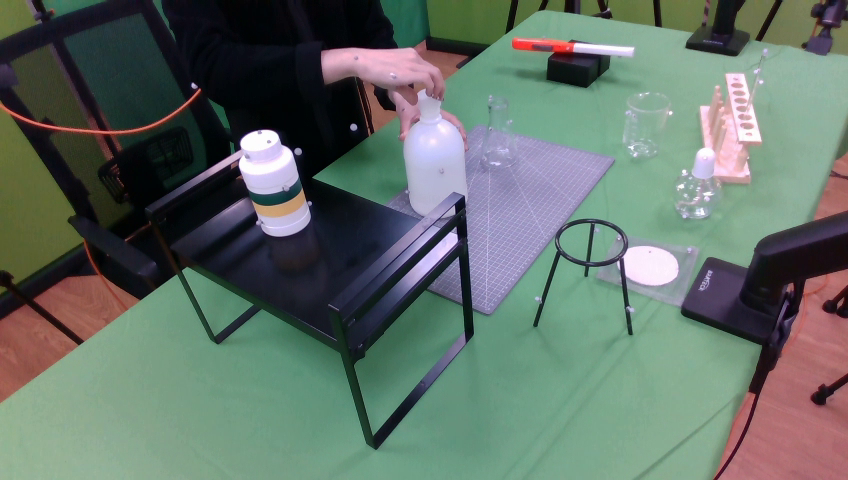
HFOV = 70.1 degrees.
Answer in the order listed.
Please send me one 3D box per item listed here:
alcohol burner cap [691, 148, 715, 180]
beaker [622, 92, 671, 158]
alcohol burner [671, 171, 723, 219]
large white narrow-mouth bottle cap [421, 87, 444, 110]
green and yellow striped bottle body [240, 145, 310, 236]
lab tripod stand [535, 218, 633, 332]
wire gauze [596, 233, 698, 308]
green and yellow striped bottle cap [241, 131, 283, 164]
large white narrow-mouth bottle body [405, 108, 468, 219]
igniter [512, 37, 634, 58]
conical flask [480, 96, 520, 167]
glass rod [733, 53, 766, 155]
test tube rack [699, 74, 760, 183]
[{"bbox_3d":[0.432,-0.120,0.931,0.034,0.048,0.033,-7,48,8],"label":"alcohol burner cap"},{"bbox_3d":[0.402,-0.210,1.106,0.074,0.101,0.083,-9,40,-2],"label":"beaker"},{"bbox_3d":[0.434,-0.093,0.955,0.078,0.119,0.077,-3,43,4],"label":"alcohol burner"},{"bbox_3d":[0.013,-0.218,0.931,0.038,0.024,0.037,-3,39,3],"label":"large white narrow-mouth bottle cap"},{"bbox_3d":[-0.181,-0.069,0.729,0.063,0.120,0.063,-4,40,4],"label":"green and yellow striped bottle body"},{"bbox_3d":[0.216,0.050,0.803,0.148,0.132,0.147,-4,42,4],"label":"lab tripod stand"},{"bbox_3d":[0.331,0.038,0.897,0.124,0.011,0.121,18,47,26],"label":"wire gauze"},{"bbox_3d":[-0.187,-0.107,0.695,0.045,0.020,0.045,-3,39,3],"label":"green and yellow striped bottle cap"},{"bbox_3d":[0.019,-0.136,0.998,0.102,0.195,0.101,-3,39,3],"label":"large white narrow-mouth bottle body"},{"bbox_3d":[0.328,-0.433,1.360,0.275,0.025,0.057,12,33,20],"label":"igniter"},{"bbox_3d":[0.138,-0.201,1.111,0.075,0.122,0.075,-4,40,4],"label":"conical flask"},{"bbox_3d":[0.540,-0.220,1.007,0.008,0.201,0.008,-5,45,6],"label":"glass rod"},{"bbox_3d":[0.547,-0.208,1.095,0.066,0.085,0.242,6,42,15],"label":"test tube rack"}]
